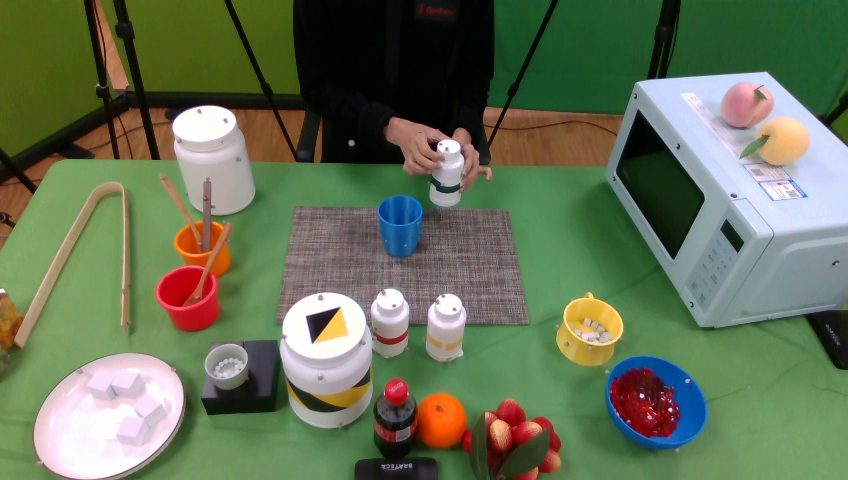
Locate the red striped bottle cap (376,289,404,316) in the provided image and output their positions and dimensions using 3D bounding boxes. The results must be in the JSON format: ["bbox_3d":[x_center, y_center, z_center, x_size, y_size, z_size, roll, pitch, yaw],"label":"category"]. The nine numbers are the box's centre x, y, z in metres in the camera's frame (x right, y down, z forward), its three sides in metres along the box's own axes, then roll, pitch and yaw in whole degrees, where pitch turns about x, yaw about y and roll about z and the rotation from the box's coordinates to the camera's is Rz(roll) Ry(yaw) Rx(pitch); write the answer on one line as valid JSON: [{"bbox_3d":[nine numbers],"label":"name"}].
[{"bbox_3d":[-0.055,0.098,0.958,0.044,0.018,0.044,0,48,1],"label":"red striped bottle cap"}]

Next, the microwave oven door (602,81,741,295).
[{"bbox_3d":[0.456,-0.107,1.162,0.039,0.245,0.353,-7,47,-11],"label":"microwave oven door"}]

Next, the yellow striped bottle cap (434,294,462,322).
[{"bbox_3d":[0.038,0.107,0.958,0.044,0.019,0.044,2,45,-2],"label":"yellow striped bottle cap"}]

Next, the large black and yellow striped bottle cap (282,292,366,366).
[{"bbox_3d":[-0.138,0.121,0.841,0.115,0.019,0.114,3,47,-3],"label":"large black and yellow striped bottle cap"}]

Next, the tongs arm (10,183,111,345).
[{"bbox_3d":[-0.658,0.027,1.109,0.028,0.028,0.385,-2,45,2],"label":"tongs arm"}]

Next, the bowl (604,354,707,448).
[{"bbox_3d":[0.346,0.261,0.937,0.151,0.077,0.150,2,46,-2],"label":"bowl"}]

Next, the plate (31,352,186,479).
[{"bbox_3d":[-0.459,0.262,0.898,0.209,0.038,0.208,2,46,-2],"label":"plate"}]

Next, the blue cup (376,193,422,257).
[{"bbox_3d":[-0.047,-0.022,1.155,0.093,0.101,0.092,1,47,-1],"label":"blue cup"}]

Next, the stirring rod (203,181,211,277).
[{"bbox_3d":[-0.396,-0.021,1.108,0.014,0.006,0.176,-1,89,-2],"label":"stirring rod"}]

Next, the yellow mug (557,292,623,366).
[{"bbox_3d":[0.285,0.145,1.051,0.100,0.064,0.130,7,45,4],"label":"yellow mug"}]

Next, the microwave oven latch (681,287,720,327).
[{"bbox_3d":[0.494,0.119,1.087,0.030,0.029,0.078,-5,46,-9],"label":"microwave oven latch"}]

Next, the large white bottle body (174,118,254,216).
[{"bbox_3d":[-0.415,-0.154,1.199,0.131,0.185,0.130,2,46,-2],"label":"large white bottle body"}]

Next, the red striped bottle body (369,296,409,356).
[{"bbox_3d":[-0.059,0.134,0.997,0.063,0.120,0.062,5,48,-5],"label":"red striped bottle body"}]

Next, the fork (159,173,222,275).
[{"bbox_3d":[-0.427,-0.029,1.103,0.028,0.018,0.207,-31,99,-30],"label":"fork"}]

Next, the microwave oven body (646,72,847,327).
[{"bbox_3d":[0.607,-0.089,1.164,0.326,0.261,0.438,-7,46,-10],"label":"microwave oven body"}]

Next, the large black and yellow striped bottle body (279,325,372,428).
[{"bbox_3d":[-0.143,0.181,0.900,0.131,0.185,0.130,2,46,-2],"label":"large black and yellow striped bottle body"}]

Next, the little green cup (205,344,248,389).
[{"bbox_3d":[-0.293,0.191,0.909,0.061,0.039,0.061,1,47,-1],"label":"little green cup"}]

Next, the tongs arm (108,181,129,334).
[{"bbox_3d":[-0.571,0.019,1.123,0.051,0.026,0.382,-11,47,-11],"label":"tongs arm"}]

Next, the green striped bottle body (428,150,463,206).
[{"bbox_3d":[0.040,-0.127,1.156,0.063,0.120,0.063,1,44,-1],"label":"green striped bottle body"}]

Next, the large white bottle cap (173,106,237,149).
[{"bbox_3d":[-0.411,-0.212,1.138,0.115,0.018,0.114,2,47,-2],"label":"large white bottle cap"}]

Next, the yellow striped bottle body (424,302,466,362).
[{"bbox_3d":[0.035,0.143,0.995,0.063,0.121,0.062,3,46,-3],"label":"yellow striped bottle body"}]

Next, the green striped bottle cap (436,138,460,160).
[{"bbox_3d":[0.044,-0.169,1.117,0.044,0.020,0.044,-2,48,2],"label":"green striped bottle cap"}]

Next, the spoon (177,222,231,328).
[{"bbox_3d":[-0.369,0.059,1.027,0.041,0.022,0.193,25,94,19],"label":"spoon"}]
